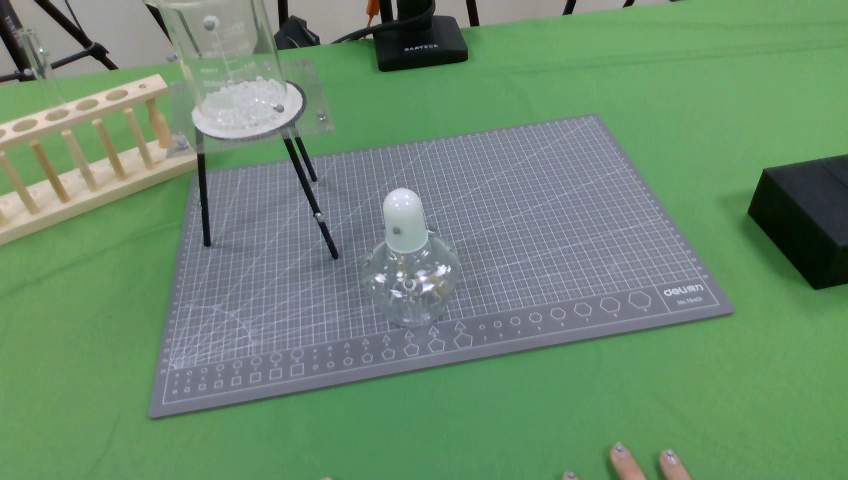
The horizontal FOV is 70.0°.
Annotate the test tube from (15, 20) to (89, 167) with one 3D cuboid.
[{"bbox_3d":[-0.359,-0.137,0.590,0.017,0.151,0.017,0,38,1],"label":"test tube"}]

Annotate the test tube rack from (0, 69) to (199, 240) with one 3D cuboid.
[{"bbox_3d":[-0.362,-0.083,0.607,0.242,0.086,0.066,-27,48,-21],"label":"test tube rack"}]

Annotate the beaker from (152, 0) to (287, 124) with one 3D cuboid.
[{"bbox_3d":[-0.149,-0.144,0.448,0.084,0.101,0.073,-8,44,-1],"label":"beaker"}]

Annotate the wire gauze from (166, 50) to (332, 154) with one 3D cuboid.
[{"bbox_3d":[-0.143,-0.112,0.485,0.125,0.011,0.120,-15,43,-6],"label":"wire gauze"}]

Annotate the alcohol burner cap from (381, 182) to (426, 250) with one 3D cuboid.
[{"bbox_3d":[-0.016,-0.020,0.437,0.034,0.048,0.033,-3,46,4],"label":"alcohol burner cap"}]

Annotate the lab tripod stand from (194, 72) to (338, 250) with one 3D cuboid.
[{"bbox_3d":[-0.139,-0.065,0.531,0.148,0.133,0.147,-3,46,3],"label":"lab tripod stand"}]

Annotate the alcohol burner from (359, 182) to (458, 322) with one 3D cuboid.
[{"bbox_3d":[-0.013,0.006,0.462,0.078,0.120,0.077,-2,42,3],"label":"alcohol burner"}]
